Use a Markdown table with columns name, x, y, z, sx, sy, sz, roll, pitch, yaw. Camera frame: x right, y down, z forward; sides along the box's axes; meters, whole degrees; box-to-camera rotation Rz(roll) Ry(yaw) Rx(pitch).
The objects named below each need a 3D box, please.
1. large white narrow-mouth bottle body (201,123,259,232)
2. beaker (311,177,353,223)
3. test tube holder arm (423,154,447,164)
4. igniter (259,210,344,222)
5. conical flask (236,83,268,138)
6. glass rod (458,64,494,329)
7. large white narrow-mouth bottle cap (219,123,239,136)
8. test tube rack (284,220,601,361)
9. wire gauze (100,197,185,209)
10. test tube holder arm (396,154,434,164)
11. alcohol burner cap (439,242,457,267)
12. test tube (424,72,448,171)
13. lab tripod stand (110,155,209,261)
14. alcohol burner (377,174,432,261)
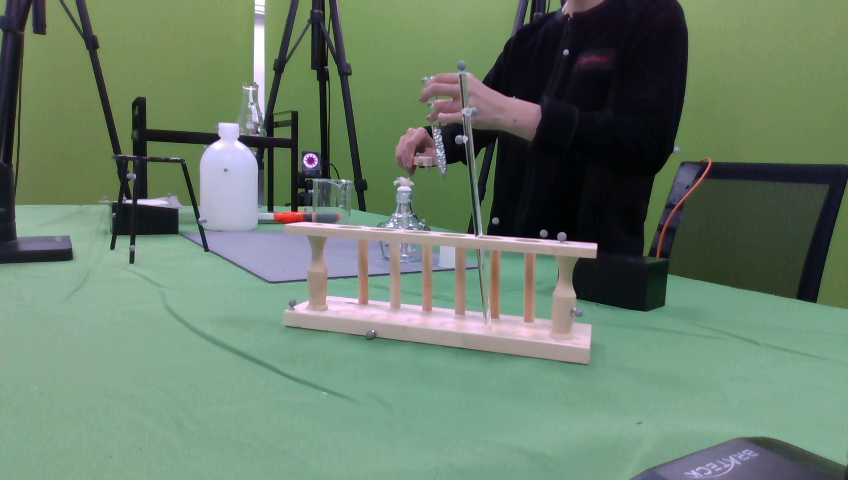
| name | x | y | z | sx | sy | sz | roll | pitch | yaw |
| --- | --- | --- | --- | --- | --- | --- | --- | --- | --- |
| large white narrow-mouth bottle body | -0.358 | -0.116 | 1.116 | 0.102 | 0.194 | 0.102 | 2 | 8 | 0 |
| beaker | -0.167 | -0.064 | 1.106 | 0.074 | 0.100 | 0.083 | -2 | 9 | -27 |
| test tube holder arm | 0.007 | -0.132 | 0.987 | 0.010 | 0.015 | 0.087 | -3 | 10 | -37 |
| igniter | -0.303 | -0.049 | 1.258 | 0.278 | 0.025 | 0.057 | -2 | -2 | -28 |
| conical flask | -0.400 | -0.298 | 1.396 | 0.075 | 0.122 | 0.075 | 2 | 8 | 0 |
| glass rod | 0.040 | -0.029 | 0.449 | 0.008 | 0.199 | 0.008 | -7 | 9 | 1 |
| large white narrow-mouth bottle cap | -0.356 | -0.201 | 1.104 | 0.038 | 0.024 | 0.037 | 2 | 8 | 0 |
| test tube rack | 0.013 | 0.032 | 0.482 | 0.242 | 0.085 | 0.067 | 4 | 7 | 16 |
| wire gauze | -0.469 | -0.062 | 1.008 | 0.126 | 0.011 | 0.121 | -2 | 8 | -25 |
| test tube holder arm | -0.017 | -0.139 | 1.023 | 0.013 | 0.015 | 0.177 | 1 | 8 | -21 |
| alcohol burner cap | 0.037 | 0.011 | 0.807 | 0.034 | 0.048 | 0.034 | 4 | 8 | 0 |
| test tube | 0.019 | -0.178 | 0.920 | 0.017 | 0.150 | 0.017 | -8 | 21 | 4 |
| lab tripod stand | -0.361 | -0.046 | 0.806 | 0.148 | 0.131 | 0.148 | 2 | 5 | 0 |
| alcohol burner | -0.027 | -0.031 | 0.838 | 0.078 | 0.119 | 0.078 | 0 | 6 | 0 |
